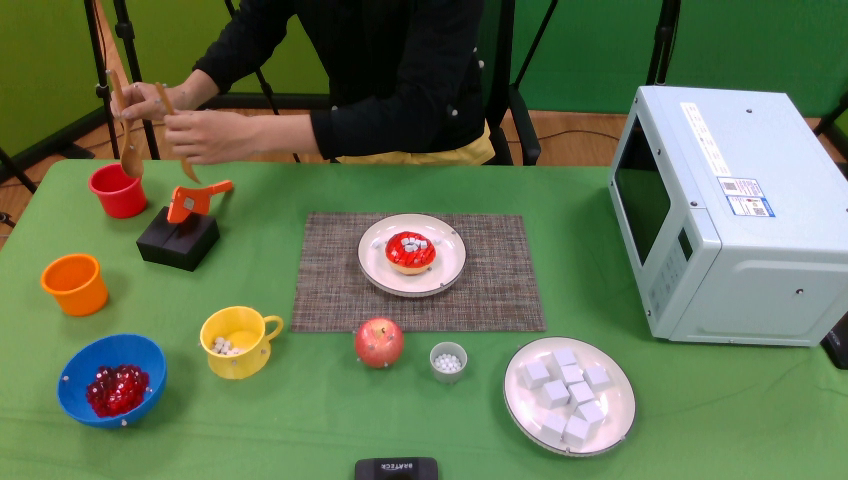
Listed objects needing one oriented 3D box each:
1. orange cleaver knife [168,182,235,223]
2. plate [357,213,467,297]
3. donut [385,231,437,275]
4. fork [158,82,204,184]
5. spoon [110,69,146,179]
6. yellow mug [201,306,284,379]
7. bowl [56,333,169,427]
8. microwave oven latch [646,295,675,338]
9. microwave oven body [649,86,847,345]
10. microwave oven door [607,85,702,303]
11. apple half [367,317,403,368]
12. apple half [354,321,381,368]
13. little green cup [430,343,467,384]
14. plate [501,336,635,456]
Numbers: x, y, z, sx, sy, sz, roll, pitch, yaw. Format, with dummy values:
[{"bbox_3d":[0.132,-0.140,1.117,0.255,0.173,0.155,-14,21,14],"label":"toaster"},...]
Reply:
[{"bbox_3d":[-0.436,-0.077,1.196,0.012,0.077,0.211,16,15,10],"label":"orange cleaver knife"},{"bbox_3d":[-0.023,0.031,1.150,0.209,0.038,0.208,2,46,-2],"label":"plate"},{"bbox_3d":[-0.025,0.024,1.142,0.099,0.048,0.098,4,44,-3],"label":"donut"},{"bbox_3d":[-0.386,-0.163,0.963,0.028,0.208,0.018,29,53,21],"label":"fork"},{"bbox_3d":[-0.524,-0.201,1.069,0.021,0.194,0.041,19,30,30],"label":"spoon"},{"bbox_3d":[-0.291,0.160,0.993,0.131,0.064,0.099,-23,51,-25],"label":"yellow mug"},{"bbox_3d":[-0.456,0.223,0.911,0.151,0.077,0.150,3,46,-2],"label":"bowl"},{"bbox_3d":[0.412,0.134,1.061,0.030,0.029,0.078,4,45,1],"label":"microwave oven latch"},{"bbox_3d":[0.568,-0.053,1.118,0.326,0.261,0.439,2,45,-1],"label":"microwave oven body"},{"bbox_3d":[0.423,-0.094,1.140,0.039,0.245,0.353,2,46,-1],"label":"microwave oven door"},{"bbox_3d":[-0.062,0.167,0.998,0.053,0.075,0.080,-11,44,-21],"label":"apple half"},{"bbox_3d":[-0.097,0.176,0.985,0.033,0.081,0.080,-12,48,-20],"label":"apple half"},{"bbox_3d":[0.039,0.203,0.994,0.061,0.039,0.061,2,46,-2],"label":"little green cup"},{"bbox_3d":[0.225,0.249,0.964,0.208,0.039,0.206,2,46,-2],"label":"plate"}]
